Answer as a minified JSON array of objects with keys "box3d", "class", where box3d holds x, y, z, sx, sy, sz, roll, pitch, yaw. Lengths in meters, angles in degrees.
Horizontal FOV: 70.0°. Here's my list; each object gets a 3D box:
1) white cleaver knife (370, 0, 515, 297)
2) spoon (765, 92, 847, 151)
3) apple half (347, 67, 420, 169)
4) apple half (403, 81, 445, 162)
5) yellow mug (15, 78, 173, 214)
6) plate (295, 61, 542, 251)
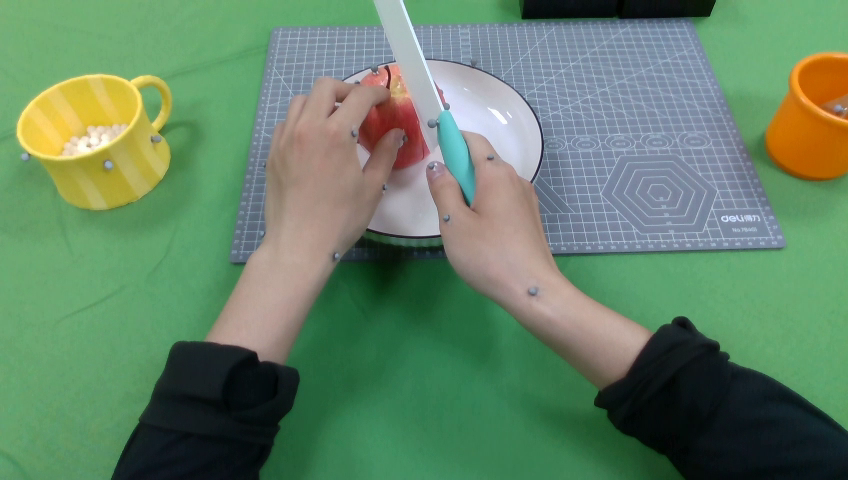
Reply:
[{"box3d":[0.005,-0.094,0.441,0.021,0.066,0.286,-20,87,-10],"class":"white cleaver knife"},{"box3d":[0.379,-0.132,0.495,0.022,0.194,0.041,26,43,-35],"class":"spoon"},{"box3d":[-0.037,-0.098,0.510,0.053,0.075,0.080,-15,61,-4],"class":"apple half"},{"box3d":[0.001,-0.108,0.514,0.033,0.082,0.080,-16,57,-2],"class":"apple half"},{"box3d":[-0.272,-0.092,0.527,0.099,0.064,0.130,28,60,18],"class":"yellow mug"},{"box3d":[-0.005,-0.074,0.524,0.209,0.038,0.207,0,56,1],"class":"plate"}]
